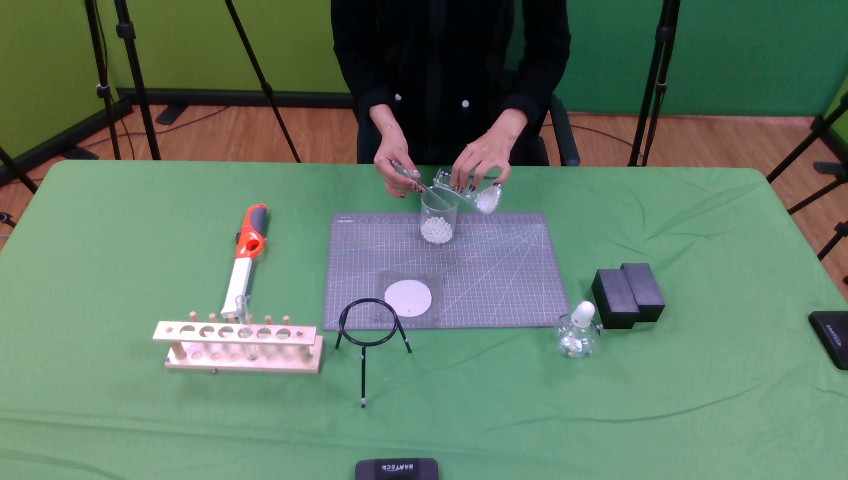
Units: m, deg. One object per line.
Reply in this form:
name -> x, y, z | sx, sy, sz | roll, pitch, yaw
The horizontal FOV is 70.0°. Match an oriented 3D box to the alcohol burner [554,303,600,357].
alcohol burner -> 0.260, 0.143, 1.018 | 0.078, 0.119, 0.077 | 3, 45, -3

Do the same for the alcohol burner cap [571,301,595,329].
alcohol burner cap -> 0.262, 0.120, 0.991 | 0.034, 0.048, 0.033 | 2, 52, -2

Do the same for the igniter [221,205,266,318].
igniter -> -0.338, 0.030, 1.140 | 0.057, 0.025, 0.274 | -5, 46, 3

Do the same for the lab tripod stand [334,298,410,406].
lab tripod stand -> -0.085, 0.164, 0.957 | 0.148, 0.132, 0.147 | 3, 44, -2

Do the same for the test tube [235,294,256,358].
test tube -> -0.274, 0.136, 0.933 | 0.017, 0.151, 0.017 | 4, 46, -4

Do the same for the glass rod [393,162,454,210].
glass rod -> 0.003, -0.097, 1.119 | 0.008, 0.201, 0.008 | -15, 61, 30

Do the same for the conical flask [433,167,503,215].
conical flask -> 0.079, -0.098, 1.125 | 0.122, 0.075, 0.075 | 18, 45, -9

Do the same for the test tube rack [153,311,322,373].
test tube rack -> -0.293, 0.160, 0.978 | 0.242, 0.085, 0.066 | 3, 46, -2

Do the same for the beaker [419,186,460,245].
beaker -> 0.025, -0.047, 1.190 | 0.074, 0.101, 0.083 | -29, 54, -29

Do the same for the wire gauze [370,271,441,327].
wire gauze -> -0.032, 0.103, 1.104 | 0.125, 0.011, 0.121 | 4, 46, 3
